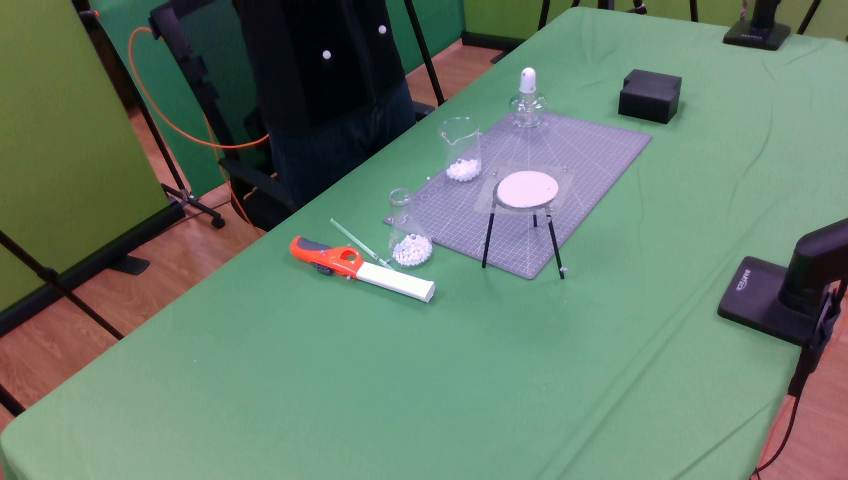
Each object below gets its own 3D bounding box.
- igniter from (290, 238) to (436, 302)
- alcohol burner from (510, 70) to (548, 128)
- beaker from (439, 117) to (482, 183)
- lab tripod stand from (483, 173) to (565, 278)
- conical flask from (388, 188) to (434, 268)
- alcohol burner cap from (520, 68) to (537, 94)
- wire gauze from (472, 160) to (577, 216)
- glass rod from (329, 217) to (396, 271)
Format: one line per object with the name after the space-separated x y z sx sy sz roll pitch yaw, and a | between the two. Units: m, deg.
-0.106 0.043 0.949 0.274 0.025 0.057 16 57 27 | igniter
0.209 -0.287 1.207 0.078 0.119 0.077 -5 42 5 | alcohol burner
0.068 -0.160 1.097 0.073 0.101 0.084 7 43 19 | beaker
0.151 -0.025 0.896 0.148 0.132 0.147 -7 40 6 | lab tripod stand
-0.028 -0.021 0.937 0.075 0.122 0.075 -6 40 5 | conical flask
0.205 -0.313 1.183 0.034 0.048 0.033 -3 50 4 | alcohol burner cap
0.143 -0.073 0.850 0.121 0.011 0.125 8 43 22 | wire gauze
-0.105 0.005 1.009 0.008 0.008 0.198 -32 46 -24 | glass rod
